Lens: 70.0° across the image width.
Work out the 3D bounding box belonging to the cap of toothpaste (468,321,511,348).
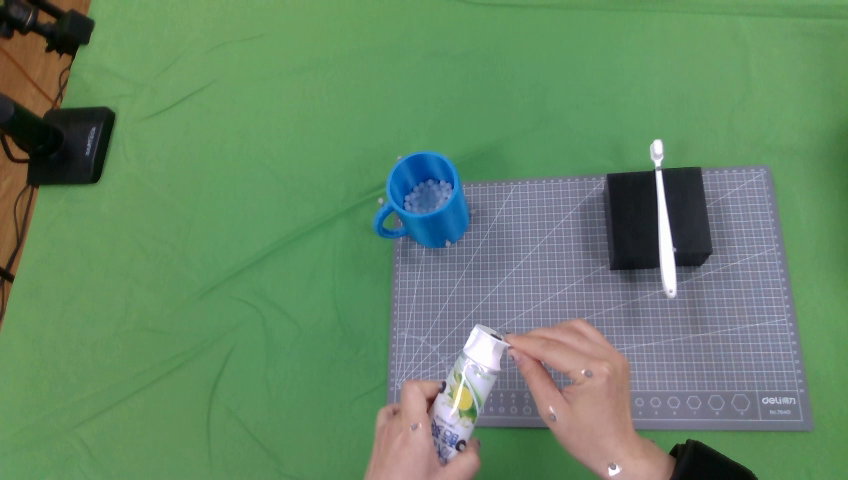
[{"bbox_3d":[0.053,0.078,0.492,0.037,0.037,0.011,25,93,17],"label":"cap of toothpaste"}]

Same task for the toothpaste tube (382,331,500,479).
[{"bbox_3d":[0.018,0.148,0.501,0.054,0.035,0.165,27,95,25],"label":"toothpaste tube"}]

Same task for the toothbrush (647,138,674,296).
[{"bbox_3d":[0.256,-0.028,0.656,0.014,0.017,0.180,1,72,4],"label":"toothbrush"}]

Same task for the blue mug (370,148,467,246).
[{"bbox_3d":[-0.009,-0.040,0.712,0.116,0.106,0.081,-29,69,0],"label":"blue mug"}]
